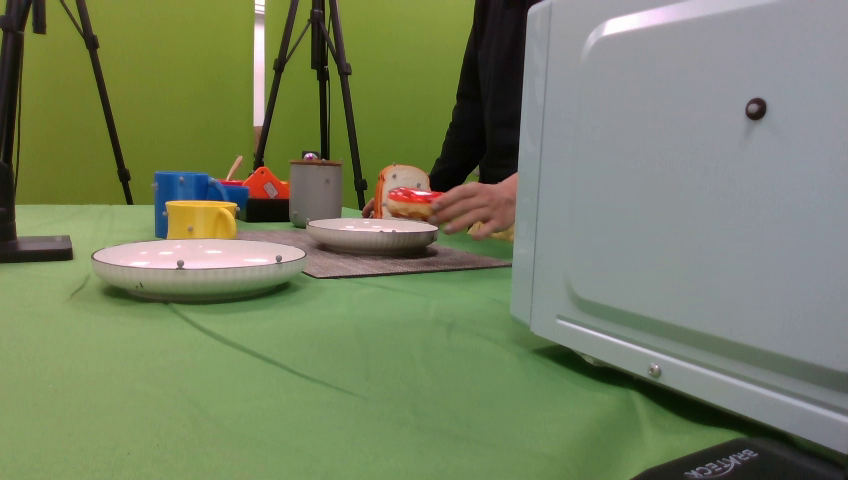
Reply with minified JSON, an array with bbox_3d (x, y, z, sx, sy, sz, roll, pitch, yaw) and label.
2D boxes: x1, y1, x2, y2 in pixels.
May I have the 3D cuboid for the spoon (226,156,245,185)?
[{"bbox_3d":[-0.477,-0.145,1.492,0.041,0.022,0.193,0,51,12],"label":"spoon"}]

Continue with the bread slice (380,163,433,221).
[{"bbox_3d":[-0.035,-0.076,1.124,0.107,0.134,0.018,-3,1,-25],"label":"bread slice"}]

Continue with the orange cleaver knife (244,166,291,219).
[{"bbox_3d":[-0.301,-0.089,1.351,0.212,0.077,0.012,32,-11,-34],"label":"orange cleaver knife"}]

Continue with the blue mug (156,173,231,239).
[{"bbox_3d":[-0.381,-0.057,1.004,0.117,0.106,0.082,0,8,-12],"label":"blue mug"}]

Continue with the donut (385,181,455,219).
[{"bbox_3d":[-0.006,-0.054,0.830,0.099,0.048,0.099,7,8,-1],"label":"donut"}]

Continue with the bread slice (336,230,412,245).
[{"bbox_3d":[-0.074,-0.005,0.938,0.105,0.019,0.131,-2,4,-18],"label":"bread slice"}]

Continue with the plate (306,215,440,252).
[{"bbox_3d":[-0.079,-0.011,0.950,0.209,0.038,0.209,2,8,0],"label":"plate"}]

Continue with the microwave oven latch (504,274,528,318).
[{"bbox_3d":[0.100,0.041,0.471,0.079,0.029,0.030,-1,8,-28],"label":"microwave oven latch"}]

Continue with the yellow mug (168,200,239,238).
[{"bbox_3d":[-0.320,-0.023,0.904,0.130,0.064,0.100,9,11,36],"label":"yellow mug"}]

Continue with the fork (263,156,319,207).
[{"bbox_3d":[-0.331,-0.144,1.505,0.207,0.018,0.028,-42,-21,22],"label":"fork"}]

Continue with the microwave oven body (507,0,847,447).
[{"bbox_3d":[0.331,-0.042,0.425,0.444,0.260,0.324,-2,8,-31],"label":"microwave oven body"}]

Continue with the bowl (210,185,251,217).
[{"bbox_3d":[-0.408,-0.064,1.155,0.151,0.077,0.151,2,8,0],"label":"bowl"}]

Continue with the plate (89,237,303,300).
[{"bbox_3d":[-0.233,0.029,0.637,0.208,0.039,0.207,2,7,0],"label":"plate"}]

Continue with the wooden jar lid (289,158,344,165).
[{"bbox_3d":[-0.215,-0.153,1.212,0.108,0.020,0.108,2,5,0],"label":"wooden jar lid"}]

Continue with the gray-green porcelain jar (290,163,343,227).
[{"bbox_3d":[-0.217,-0.091,1.221,0.106,0.126,0.106,2,7,0],"label":"gray-green porcelain jar"}]

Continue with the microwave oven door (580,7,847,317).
[{"bbox_3d":[0.294,-0.067,0.570,0.358,0.243,0.039,-3,9,-31],"label":"microwave oven door"}]
